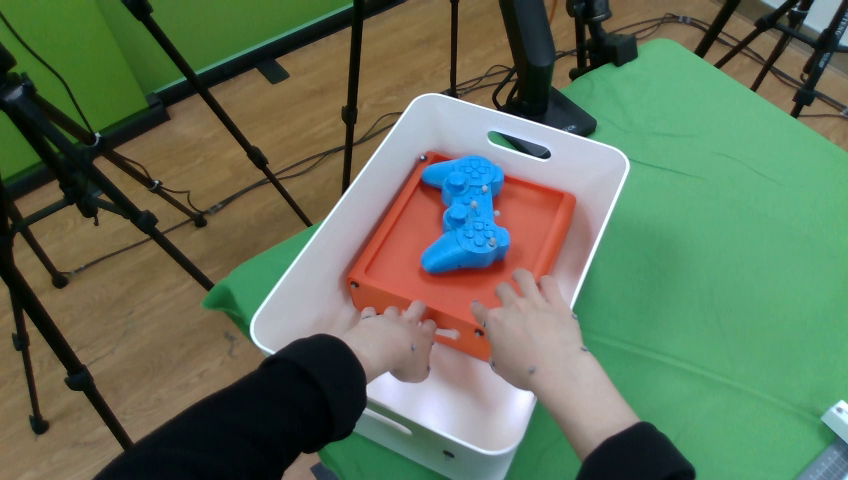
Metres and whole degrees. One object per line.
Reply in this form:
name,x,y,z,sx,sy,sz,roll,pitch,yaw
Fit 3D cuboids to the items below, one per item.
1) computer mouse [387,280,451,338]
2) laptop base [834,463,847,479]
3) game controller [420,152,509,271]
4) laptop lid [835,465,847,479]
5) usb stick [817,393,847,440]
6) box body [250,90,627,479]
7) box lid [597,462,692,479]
computer mouse,-0.004,0.072,0.687,0.063,0.041,0.117,-4,15,9
laptop base,0.491,0.353,0.503,0.235,0.023,0.351,-35,61,-17
game controller,0.044,-0.038,0.683,0.097,0.052,0.153,1,54,-1
laptop lid,0.488,0.347,0.493,0.242,0.013,0.353,-33,60,-17
usb stick,0.431,0.185,0.607,0.021,0.027,0.058,-27,61,-23
box body,0.032,0.038,0.649,0.253,0.162,0.362,21,58,15
box lid,0.178,0.388,0.492,0.263,0.015,0.367,-14,56,-8
